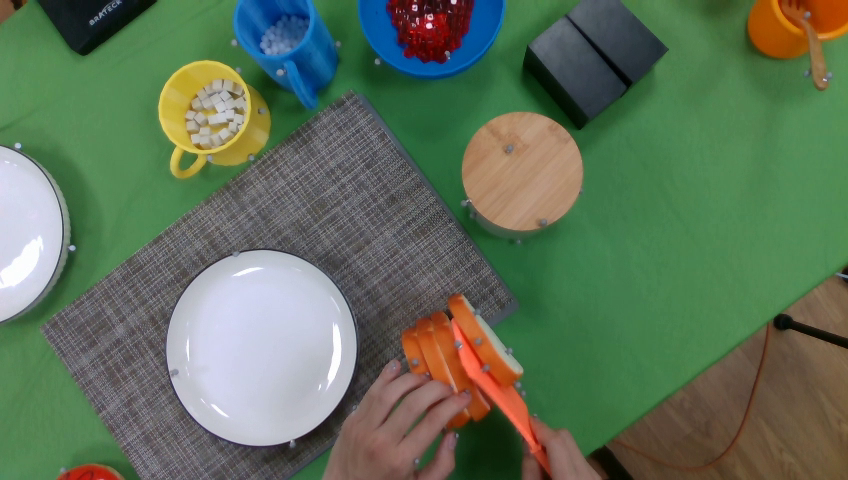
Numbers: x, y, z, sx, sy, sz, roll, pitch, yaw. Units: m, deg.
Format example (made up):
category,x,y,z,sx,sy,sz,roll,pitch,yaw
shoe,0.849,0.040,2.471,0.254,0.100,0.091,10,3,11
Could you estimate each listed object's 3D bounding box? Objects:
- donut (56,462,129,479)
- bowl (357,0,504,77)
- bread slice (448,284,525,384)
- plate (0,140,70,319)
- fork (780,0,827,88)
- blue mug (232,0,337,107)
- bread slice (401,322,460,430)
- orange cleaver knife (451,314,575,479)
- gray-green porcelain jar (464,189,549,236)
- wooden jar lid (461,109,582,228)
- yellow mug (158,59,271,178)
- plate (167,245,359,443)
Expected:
category,x,y,z,sx,sy,sz,roll,pitch,yaw
donut,-0.363,0.292,0.658,0.099,0.048,0.099,0,85,2
bowl,0.009,-0.239,0.647,0.151,0.077,0.151,0,87,4
bread slice,0.064,0.091,0.596,0.019,0.132,0.104,-38,85,8
plate,-0.497,-0.010,0.687,0.207,0.039,0.207,0,87,3
fork,0.369,-0.202,0.586,0.028,0.019,0.206,25,45,-2
blue mug,-0.139,-0.198,0.641,0.082,0.106,0.116,-17,86,3
bread slice,0.007,0.131,0.602,0.018,0.135,0.106,-25,81,2
orange cleaver knife,0.086,0.156,0.571,0.012,0.076,0.213,-32,111,13
gray-green porcelain jar,0.092,-0.059,0.608,0.106,0.127,0.105,0,86,4
wooden jar lid,0.087,-0.064,0.546,0.108,0.021,0.108,0,86,1
yellow mug,-0.235,-0.125,0.662,0.100,0.064,0.131,31,90,6
plate,-0.170,0.110,0.655,0.209,0.038,0.208,0,87,4
